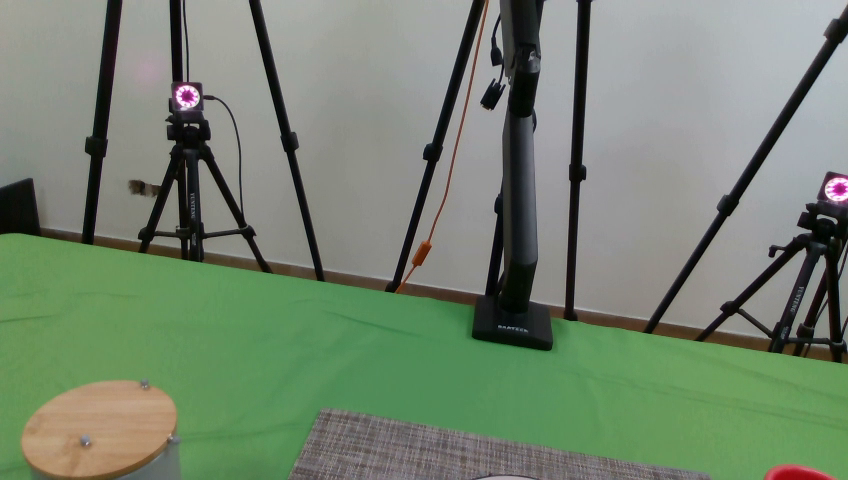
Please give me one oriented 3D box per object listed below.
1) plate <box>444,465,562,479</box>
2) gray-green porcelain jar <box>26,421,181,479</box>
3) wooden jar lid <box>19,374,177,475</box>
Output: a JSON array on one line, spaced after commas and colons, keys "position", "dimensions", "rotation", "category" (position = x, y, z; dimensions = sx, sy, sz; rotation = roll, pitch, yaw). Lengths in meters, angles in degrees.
[{"position": [0.083, 0.284, 0.519], "dimensions": [0.208, 0.039, 0.206], "rotation": [6, 25, -2], "category": "plate"}, {"position": [-0.259, 0.204, 0.502], "dimensions": [0.106, 0.127, 0.105], "rotation": [6, 25, -3], "category": "gray-green porcelain jar"}, {"position": [-0.252, 0.145, 0.475], "dimensions": [0.108, 0.021, 0.107], "rotation": [9, 24, -4], "category": "wooden jar lid"}]
